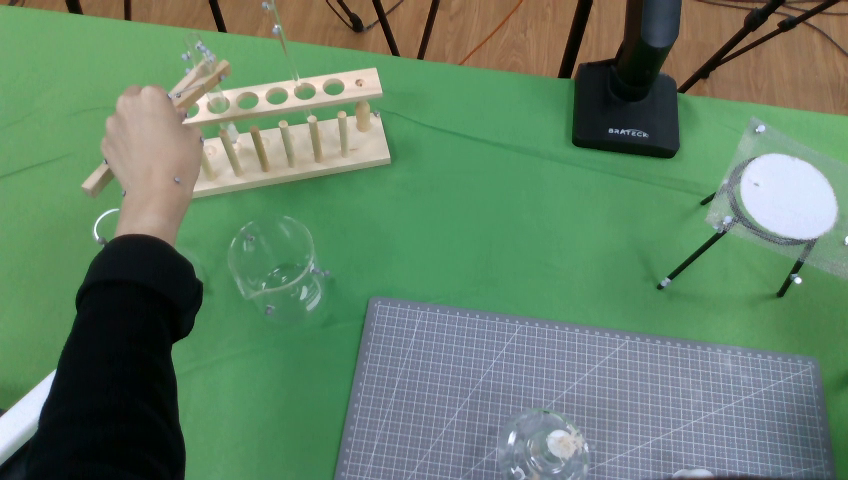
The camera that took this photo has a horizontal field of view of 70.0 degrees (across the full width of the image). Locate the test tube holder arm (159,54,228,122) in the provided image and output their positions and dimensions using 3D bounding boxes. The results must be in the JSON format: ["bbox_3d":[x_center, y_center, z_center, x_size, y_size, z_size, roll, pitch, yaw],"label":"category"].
[{"bbox_3d":[-0.213,-0.139,0.554,0.010,0.015,0.087,32,59,8],"label":"test tube holder arm"}]

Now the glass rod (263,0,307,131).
[{"bbox_3d":[-0.136,-0.174,0.599,0.008,0.201,0.008,-2,57,3],"label":"glass rod"}]

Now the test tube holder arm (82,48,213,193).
[{"bbox_3d":[-0.237,-0.109,0.531,0.013,0.015,0.177,25,59,4],"label":"test tube holder arm"}]

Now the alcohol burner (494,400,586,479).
[{"bbox_3d":[0.100,0.168,0.502,0.078,0.120,0.077,2,64,-3],"label":"alcohol burner"}]

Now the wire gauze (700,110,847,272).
[{"bbox_3d":[0.319,-0.045,0.528,0.121,0.011,0.124,28,68,9],"label":"wire gauze"}]

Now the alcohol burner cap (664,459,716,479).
[{"bbox_3d":[0.235,0.206,0.529,0.034,0.048,0.033,1,65,-2],"label":"alcohol burner cap"}]

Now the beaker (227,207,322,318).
[{"bbox_3d":[-0.137,0.029,0.570,0.074,0.101,0.083,22,66,9],"label":"beaker"}]

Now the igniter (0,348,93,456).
[{"bbox_3d":[-0.382,0.196,0.469,0.057,0.025,0.276,34,67,23],"label":"igniter"}]

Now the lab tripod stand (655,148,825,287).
[{"bbox_3d":[0.309,-0.015,0.588,0.148,0.132,0.147,2,64,-3],"label":"lab tripod stand"}]

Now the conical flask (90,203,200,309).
[{"bbox_3d":[-0.262,0.010,0.561,0.075,0.123,0.074,1,64,-1],"label":"conical flask"}]

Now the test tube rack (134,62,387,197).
[{"bbox_3d":[-0.166,-0.117,0.644,0.243,0.086,0.066,-12,65,-8],"label":"test tube rack"}]

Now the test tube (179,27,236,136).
[{"bbox_3d":[-0.207,-0.148,0.589,0.017,0.151,0.017,1,66,-3],"label":"test tube"}]
